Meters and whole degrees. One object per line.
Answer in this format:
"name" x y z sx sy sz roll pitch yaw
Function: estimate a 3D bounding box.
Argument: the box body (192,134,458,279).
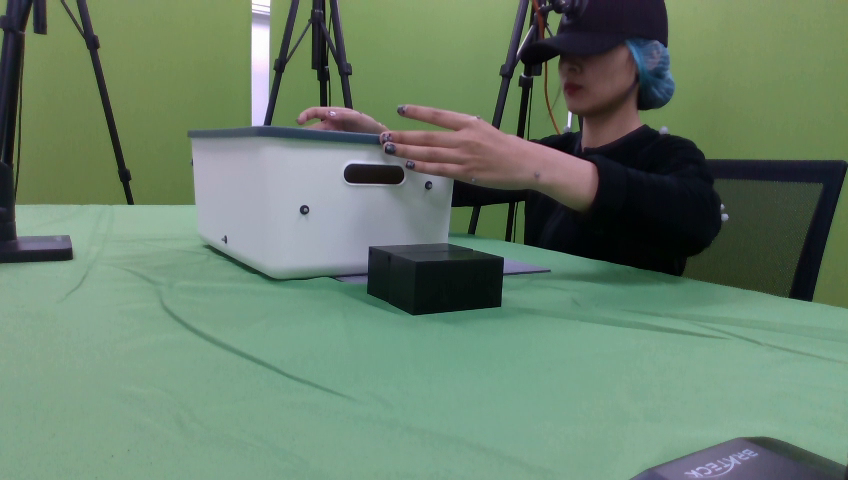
"box body" -0.154 -0.059 0.840 0.255 0.160 0.362 -2 9 -33

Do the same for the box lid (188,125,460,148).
"box lid" -0.151 -0.137 0.826 0.265 0.015 0.369 -3 9 -33
